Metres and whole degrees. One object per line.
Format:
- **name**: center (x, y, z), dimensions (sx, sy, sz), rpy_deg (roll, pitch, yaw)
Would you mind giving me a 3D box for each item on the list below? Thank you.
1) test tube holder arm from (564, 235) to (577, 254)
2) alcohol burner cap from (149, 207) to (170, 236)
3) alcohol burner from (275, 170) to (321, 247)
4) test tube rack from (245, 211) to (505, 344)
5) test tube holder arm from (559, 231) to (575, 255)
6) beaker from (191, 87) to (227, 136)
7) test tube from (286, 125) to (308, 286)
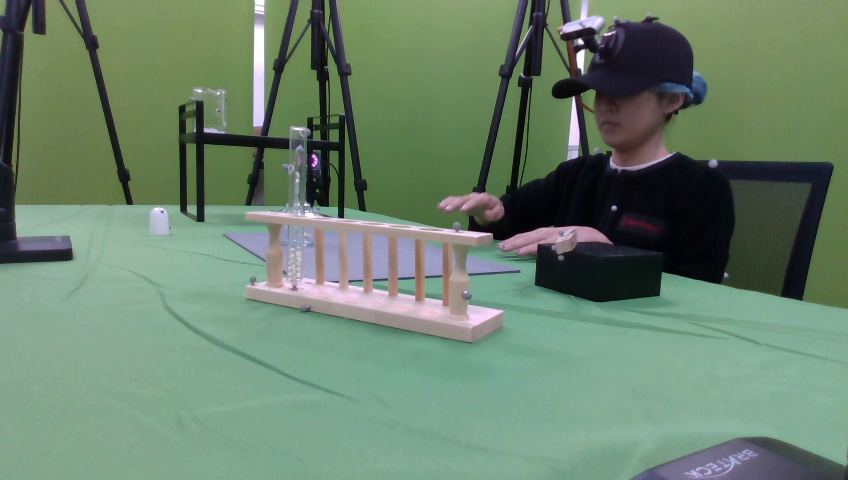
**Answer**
- **test tube holder arm**: center (0.163, 0.005, 0.669), dimensions (0.010, 0.015, 0.088), rpy_deg (-3, 4, 17)
- **alcohol burner cap**: center (-0.445, -0.032, 1.019), dimensions (0.034, 0.048, 0.034), rpy_deg (4, 9, 0)
- **alcohol burner**: center (-0.199, -0.050, 0.948), dimensions (0.078, 0.119, 0.078), rpy_deg (1, 7, 0)
- **test tube rack**: center (-0.049, 0.025, 0.547), dimensions (0.241, 0.085, 0.067), rpy_deg (7, 8, 29)
- **test tube holder arm**: center (0.170, 0.001, 0.714), dimensions (0.013, 0.015, 0.179), rpy_deg (-3, 4, 15)
- **beaker**: center (-0.476, -0.284, 1.345), dimensions (0.074, 0.100, 0.083), rpy_deg (-3, 10, -37)
- **test tube**: center (-0.118, -0.030, 0.558), dimensions (0.017, 0.150, 0.017), rpy_deg (4, 12, -1)
